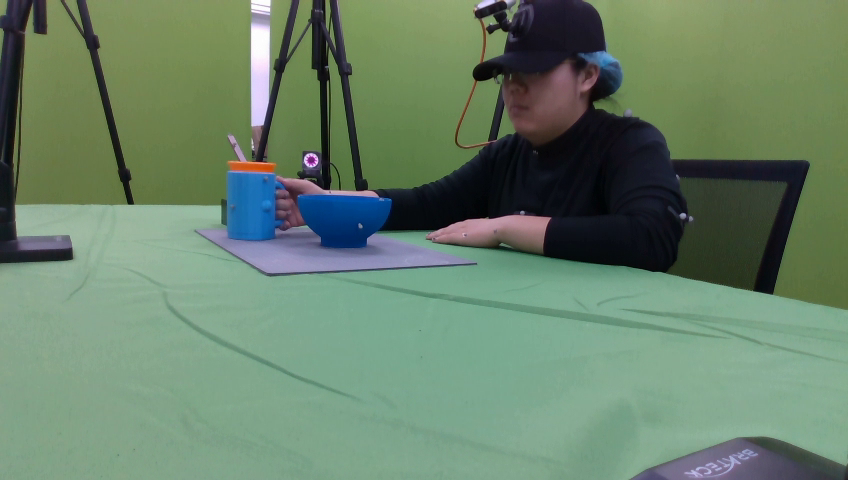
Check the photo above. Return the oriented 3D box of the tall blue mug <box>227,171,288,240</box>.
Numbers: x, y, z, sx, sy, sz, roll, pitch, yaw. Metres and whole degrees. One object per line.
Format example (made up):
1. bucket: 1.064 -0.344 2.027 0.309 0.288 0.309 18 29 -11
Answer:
1. tall blue mug: -0.282 -0.059 1.012 0.078 0.108 0.107 3 7 7

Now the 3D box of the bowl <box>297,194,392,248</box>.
1. bowl: -0.127 -0.030 0.964 0.151 0.077 0.151 2 7 0

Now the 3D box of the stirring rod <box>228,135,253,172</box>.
1. stirring rod: -0.353 -0.147 1.197 0.014 0.006 0.175 -5 53 -45
